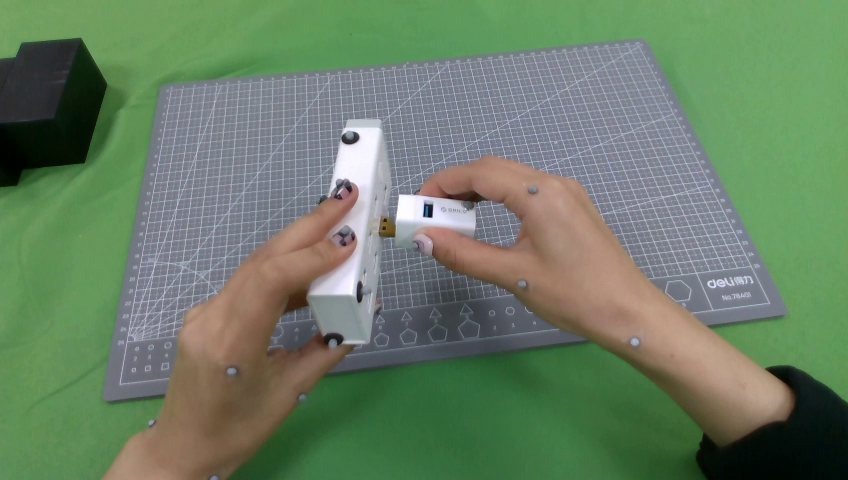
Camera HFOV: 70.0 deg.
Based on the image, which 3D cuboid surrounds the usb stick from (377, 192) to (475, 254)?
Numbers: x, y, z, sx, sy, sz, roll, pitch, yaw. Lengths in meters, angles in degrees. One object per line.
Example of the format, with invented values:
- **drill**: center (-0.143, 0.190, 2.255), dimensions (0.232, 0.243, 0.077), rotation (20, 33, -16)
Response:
- **usb stick**: center (-0.002, -0.010, 0.341), dimensions (0.059, 0.027, 0.021), rotation (7, 46, 5)

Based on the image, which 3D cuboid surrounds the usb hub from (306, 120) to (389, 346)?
- **usb hub**: center (-0.038, -0.008, 0.335), dimensions (0.025, 0.050, 0.124), rotation (0, 52, 5)
